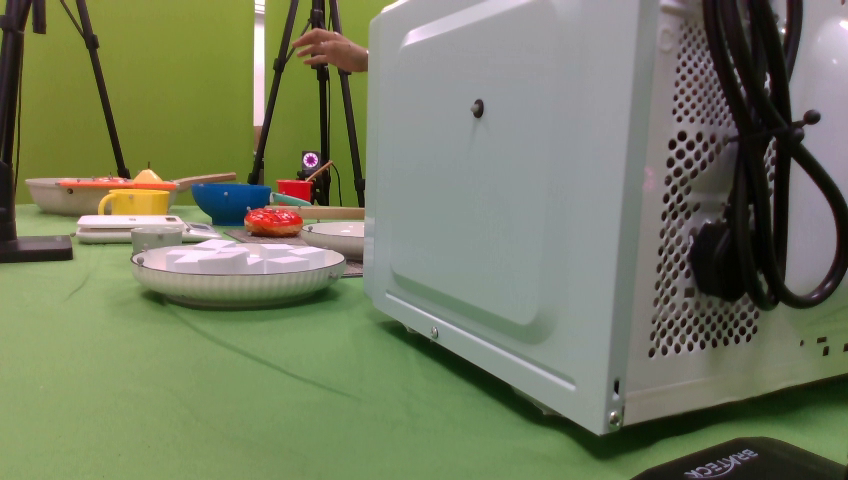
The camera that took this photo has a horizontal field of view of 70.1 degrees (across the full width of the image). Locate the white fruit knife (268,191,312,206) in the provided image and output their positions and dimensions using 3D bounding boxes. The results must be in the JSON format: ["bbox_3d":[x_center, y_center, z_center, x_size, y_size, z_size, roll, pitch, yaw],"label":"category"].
[{"bbox_3d":[-0.364,-0.105,1.464,0.208,0.027,0.016,15,0,-34],"label":"white fruit knife"}]

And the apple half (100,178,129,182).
[{"bbox_3d":[-0.638,-0.092,1.265,0.053,0.074,0.081,7,5,10],"label":"apple half"}]

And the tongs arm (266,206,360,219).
[{"bbox_3d":[-0.173,-0.061,1.362,0.387,0.026,0.050,-1,3,-31],"label":"tongs arm"}]

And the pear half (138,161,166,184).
[{"bbox_3d":[-0.602,-0.120,1.354,0.056,0.110,0.076,4,11,5],"label":"pear half"}]

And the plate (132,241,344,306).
[{"bbox_3d":[-0.187,0.033,0.625,0.208,0.039,0.207,2,8,0],"label":"plate"}]

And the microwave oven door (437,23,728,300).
[{"bbox_3d":[0.180,-0.072,0.621,0.358,0.243,0.039,-2,8,-29],"label":"microwave oven door"}]

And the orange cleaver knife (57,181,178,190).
[{"bbox_3d":[-0.600,-0.109,1.189,0.212,0.012,0.077,-1,11,-26],"label":"orange cleaver knife"}]

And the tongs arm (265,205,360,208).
[{"bbox_3d":[-0.210,-0.068,1.440,0.389,0.027,0.028,0,-1,-17],"label":"tongs arm"}]

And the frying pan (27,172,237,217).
[{"bbox_3d":[-0.624,-0.118,1.387,0.305,0.102,0.490,8,17,32],"label":"frying pan"}]

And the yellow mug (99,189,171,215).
[{"bbox_3d":[-0.518,-0.055,1.080,0.099,0.064,0.131,6,10,26],"label":"yellow mug"}]

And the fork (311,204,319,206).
[{"bbox_3d":[-0.356,-0.105,1.526,0.208,0.018,0.028,16,-6,-41],"label":"fork"}]

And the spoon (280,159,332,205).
[{"bbox_3d":[-0.316,-0.159,1.640,0.194,0.022,0.041,-50,32,-20],"label":"spoon"}]

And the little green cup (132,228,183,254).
[{"bbox_3d":[-0.342,0.006,0.779,0.061,0.038,0.061,2,8,0],"label":"little green cup"}]

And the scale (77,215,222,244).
[{"bbox_3d":[-0.434,-0.019,0.963,0.202,0.031,0.148,-1,9,-27],"label":"scale"}]

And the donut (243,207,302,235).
[{"bbox_3d":[-0.261,-0.032,1.043,0.099,0.048,0.099,4,9,0],"label":"donut"}]

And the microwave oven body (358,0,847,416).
[{"bbox_3d":[0.211,-0.047,0.475,0.444,0.260,0.324,-1,7,-28],"label":"microwave oven body"}]

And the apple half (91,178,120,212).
[{"bbox_3d":[-0.677,-0.096,1.271,0.033,0.081,0.081,7,8,10],"label":"apple half"}]

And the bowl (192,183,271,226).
[{"bbox_3d":[-0.382,-0.071,1.202,0.151,0.077,0.151,3,7,0],"label":"bowl"}]

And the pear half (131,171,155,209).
[{"bbox_3d":[-0.637,-0.113,1.360,0.031,0.088,0.070,5,11,4],"label":"pear half"}]

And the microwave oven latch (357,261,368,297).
[{"bbox_3d":[-0.019,0.033,0.531,0.079,0.029,0.030,-1,7,-27],"label":"microwave oven latch"}]

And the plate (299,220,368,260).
[{"bbox_3d":[-0.078,-0.001,0.890,0.209,0.038,0.209,3,8,0],"label":"plate"}]
